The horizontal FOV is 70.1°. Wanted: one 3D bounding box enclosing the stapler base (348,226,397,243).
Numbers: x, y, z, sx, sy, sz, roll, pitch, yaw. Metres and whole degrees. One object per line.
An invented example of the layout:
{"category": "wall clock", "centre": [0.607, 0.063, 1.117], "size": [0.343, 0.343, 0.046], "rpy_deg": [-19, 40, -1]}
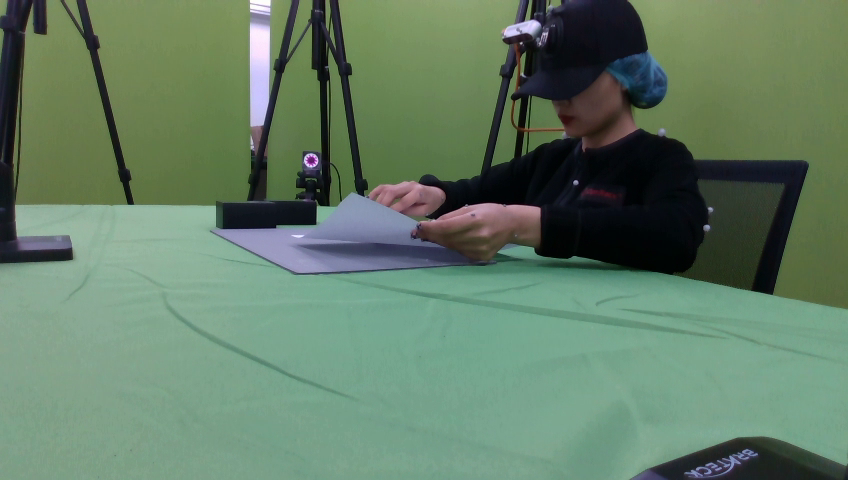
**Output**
{"category": "stapler base", "centre": [-0.091, -0.014, 1.061], "size": [0.041, 0.024, 0.130], "rpy_deg": [1, 6, -30]}

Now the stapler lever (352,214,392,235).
{"category": "stapler lever", "centre": [-0.092, -0.033, 1.059], "size": [0.027, 0.040, 0.117], "rpy_deg": [0, 12, -30]}
